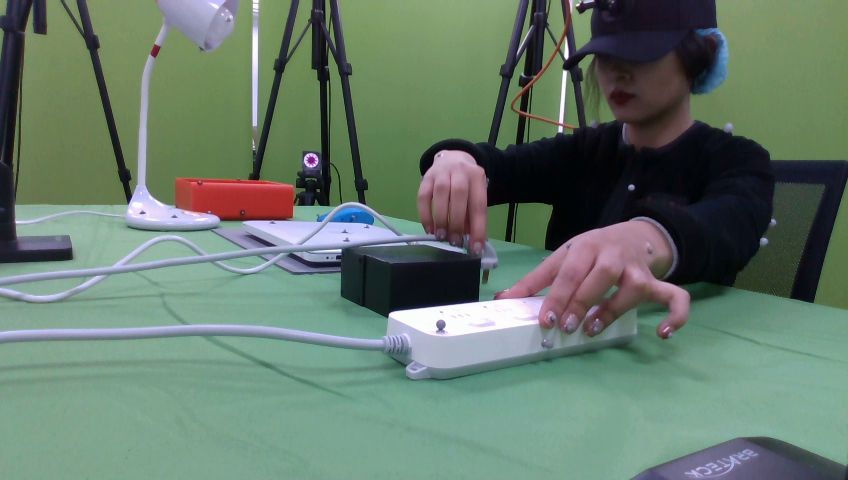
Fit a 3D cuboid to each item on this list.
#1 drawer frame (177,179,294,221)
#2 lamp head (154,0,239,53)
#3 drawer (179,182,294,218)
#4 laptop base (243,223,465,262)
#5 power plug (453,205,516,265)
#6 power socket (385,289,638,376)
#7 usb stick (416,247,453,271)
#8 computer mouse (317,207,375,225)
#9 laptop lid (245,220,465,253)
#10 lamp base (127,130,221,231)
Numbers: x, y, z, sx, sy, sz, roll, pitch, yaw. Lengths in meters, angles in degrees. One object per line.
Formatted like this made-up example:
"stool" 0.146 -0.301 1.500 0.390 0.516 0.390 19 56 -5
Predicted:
"drawer frame" -0.422 -0.092 1.352 0.215 0.082 0.200 -3 10 -32
"lamp head" -0.406 -0.402 1.059 0.123 0.112 0.112 25 5 -6
"drawer" -0.420 -0.091 1.354 0.213 0.073 0.193 -3 10 -31
"laptop base" -0.126 0.003 0.945 0.237 0.023 0.352 2 6 -31
"power plug" 0.064 -0.007 0.623 0.053 0.073 0.035 -21 31 -3
"power socket" 0.074 0.064 0.461 0.228 0.032 0.072 -3 8 -34
"usb stick" 0.010 0.024 0.755 0.027 0.021 0.059 36 -17 -16
"computer mouse" -0.163 -0.048 1.264 0.118 0.041 0.062 -6 12 -29
"laptop lid" -0.124 -0.009 0.945 0.243 0.013 0.355 1 7 -29
"lamp base" -0.469 -0.112 1.108 0.179 0.180 0.160 0 7 3
